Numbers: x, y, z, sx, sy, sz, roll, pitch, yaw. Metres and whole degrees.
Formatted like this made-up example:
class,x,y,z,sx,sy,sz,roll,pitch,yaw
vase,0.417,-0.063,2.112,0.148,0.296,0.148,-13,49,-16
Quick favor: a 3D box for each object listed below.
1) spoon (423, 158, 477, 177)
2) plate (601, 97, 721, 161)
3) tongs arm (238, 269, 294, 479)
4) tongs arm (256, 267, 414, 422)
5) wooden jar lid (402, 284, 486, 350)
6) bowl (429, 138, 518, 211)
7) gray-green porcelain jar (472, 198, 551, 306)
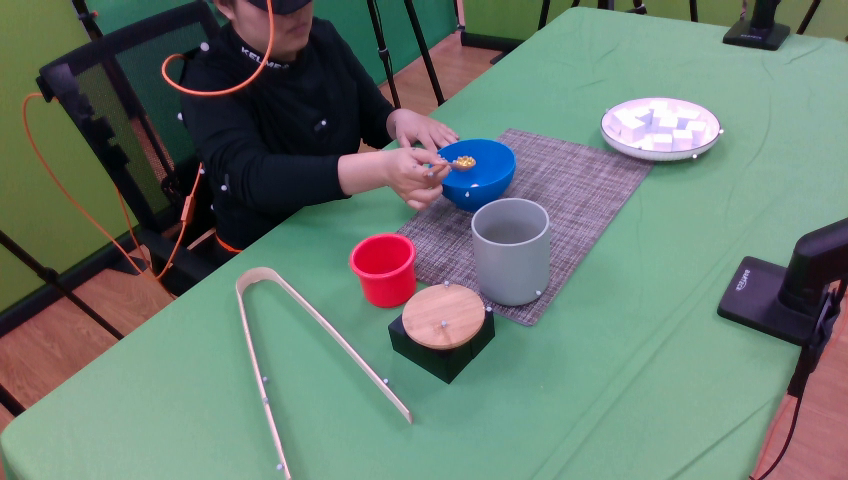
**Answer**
class,x,y,z,sx,sy,sz,roll,pitch,yaw
spoon,0.038,-0.114,0.944,0.041,0.021,0.194,8,12,23
plate,0.437,-0.202,1.126,0.209,0.038,0.208,-5,39,5
tongs arm,-0.208,0.163,0.824,0.051,0.026,0.381,-22,40,-15
tongs arm,-0.137,0.132,0.853,0.028,0.028,0.384,-34,45,-23
wooden jar lid,0.026,0.101,0.786,0.108,0.021,0.108,-5,39,4
bowl,0.087,-0.104,1.043,0.151,0.077,0.150,-5,40,5
gray-green porcelain jar,0.125,0.021,0.850,0.106,0.127,0.105,-6,40,5
